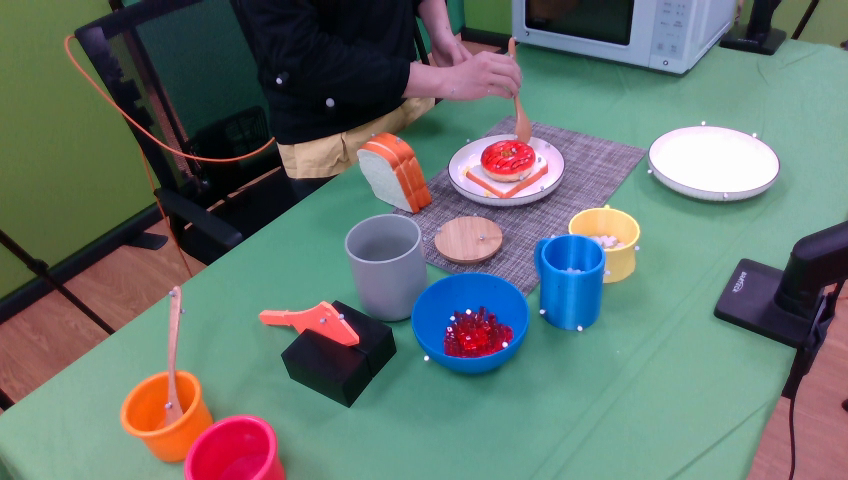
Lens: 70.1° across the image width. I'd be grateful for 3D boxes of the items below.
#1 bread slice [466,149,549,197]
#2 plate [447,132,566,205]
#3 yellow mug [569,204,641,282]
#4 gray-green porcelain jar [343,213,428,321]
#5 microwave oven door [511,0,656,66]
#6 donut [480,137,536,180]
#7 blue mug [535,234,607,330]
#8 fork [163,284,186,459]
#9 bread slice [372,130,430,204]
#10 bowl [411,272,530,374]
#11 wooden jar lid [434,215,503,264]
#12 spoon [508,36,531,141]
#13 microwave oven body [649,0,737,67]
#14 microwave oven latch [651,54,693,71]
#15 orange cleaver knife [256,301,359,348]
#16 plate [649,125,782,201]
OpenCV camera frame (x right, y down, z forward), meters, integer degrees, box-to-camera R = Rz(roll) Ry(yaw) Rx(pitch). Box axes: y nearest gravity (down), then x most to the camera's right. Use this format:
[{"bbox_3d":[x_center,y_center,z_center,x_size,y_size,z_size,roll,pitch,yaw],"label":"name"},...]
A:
[{"bbox_3d":[0.156,-0.129,1.083,0.132,0.019,0.104,-33,47,-25],"label":"bread slice"},{"bbox_3d":[0.146,-0.124,1.076,0.209,0.038,0.208,-4,41,4],"label":"plate"},{"bbox_3d":[0.268,-0.005,0.904,0.099,0.064,0.130,7,41,15],"label":"yellow mug"},{"bbox_3d":[-0.049,0.042,0.849,0.106,0.127,0.105,-4,41,4],"label":"gray-green porcelain jar"},{"bbox_3d":[0.351,-0.540,1.349,0.353,0.245,0.039,24,50,31],"label":"microwave oven door"},{"bbox_3d":[0.146,-0.144,1.056,0.099,0.048,0.098,-4,42,4],"label":"donut"},{"bbox_3d":[0.191,0.048,0.824,0.082,0.106,0.115,-26,44,-21],"label":"blue mug"},{"bbox_3d":[-0.303,0.157,0.733,0.028,0.019,0.207,-3,84,13],"label":"fork"},{"bbox_3d":[-0.042,-0.127,1.038,0.106,0.135,0.018,30,61,33],"label":"bread slice"},{"bbox_3d":[0.062,0.120,0.780,0.151,0.077,0.150,-4,40,4],"label":"bowl"},{"bbox_3d":[0.070,0.001,0.956,0.108,0.021,0.108,-4,40,4],"label":"wooden jar lid"},{"bbox_3d":[0.166,-0.263,1.080,0.042,0.194,0.021,-24,23,-27],"label":"spoon"},{"bbox_3d":[0.475,-0.602,1.411,0.438,0.261,0.327,23,50,32],"label":"microwave oven body"},{"bbox_3d":[0.532,-0.386,1.301,0.078,0.029,0.030,26,51,33],"label":"microwave oven latch"},{"bbox_3d":[-0.160,0.115,0.813,0.210,0.077,0.012,-9,29,48],"label":"orange cleaver knife"},{"bbox_3d":[0.493,-0.127,1.036,0.207,0.039,0.206,-4,41,4],"label":"plate"}]
